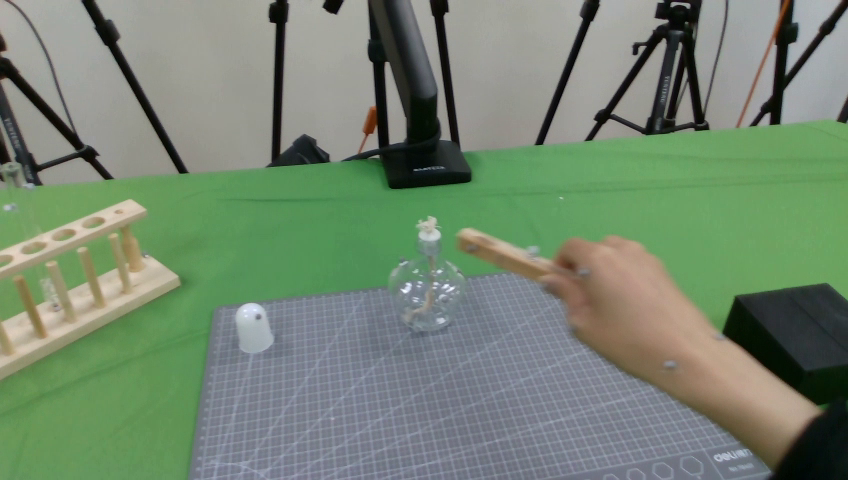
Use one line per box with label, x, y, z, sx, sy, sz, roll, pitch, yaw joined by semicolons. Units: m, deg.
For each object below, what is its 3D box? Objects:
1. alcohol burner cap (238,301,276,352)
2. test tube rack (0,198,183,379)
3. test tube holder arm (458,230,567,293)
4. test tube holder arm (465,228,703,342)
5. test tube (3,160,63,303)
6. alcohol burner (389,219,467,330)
alcohol burner cap;-0.160;0.079;0.575;0.034;0.048;0.033;1;35;0
test tube rack;-0.366;0.052;0.580;0.066;0.086;0.242;26;42;33
test tube holder arm;0.064;0.015;0.442;0.087;0.015;0.010;23;40;23
test tube holder arm;0.105;0.029;0.428;0.177;0.015;0.013;23;40;23
test tube;-0.367;-0.003;0.573;0.017;0.151;0.017;2;29;0
alcohol burner;0.004;0.029;0.587;0.078;0.120;0.077;1;36;-1
